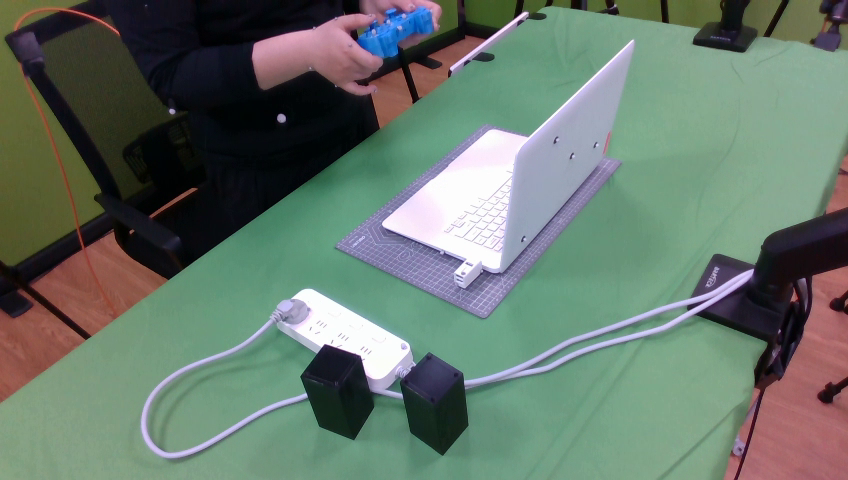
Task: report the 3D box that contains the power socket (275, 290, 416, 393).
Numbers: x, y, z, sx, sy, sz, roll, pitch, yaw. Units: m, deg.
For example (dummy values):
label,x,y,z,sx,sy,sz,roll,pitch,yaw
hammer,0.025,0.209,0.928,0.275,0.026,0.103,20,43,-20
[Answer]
label,x,y,z,sx,sy,sz,roll,pitch,yaw
power socket,-0.114,0.133,0.821,0.225,0.033,0.072,24,48,32

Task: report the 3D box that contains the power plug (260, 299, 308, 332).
label,x,y,z,sx,sy,sz,roll,pitch,yaw
power plug,-0.193,0.109,0.830,0.073,0.053,0.035,-34,47,-23

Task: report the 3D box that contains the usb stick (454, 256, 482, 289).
label,x,y,z,sx,sy,sz,roll,pitch,yaw
usb stick,0.069,0.044,0.891,0.021,0.027,0.059,22,44,32

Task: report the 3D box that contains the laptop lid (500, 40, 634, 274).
label,x,y,z,sx,sy,sz,roll,pitch,yaw
laptop lid,0.218,-0.128,0.906,0.013,0.242,0.358,28,50,25

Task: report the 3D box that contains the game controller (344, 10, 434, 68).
label,x,y,z,sx,sy,sz,roll,pitch,yaw
game controller,-0.055,-0.327,0.964,0.096,0.052,0.155,11,42,40

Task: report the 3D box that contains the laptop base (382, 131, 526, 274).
label,x,y,z,sx,sy,sz,roll,pitch,yaw
laptop base,0.123,-0.081,1.049,0.233,0.023,0.355,20,47,33
